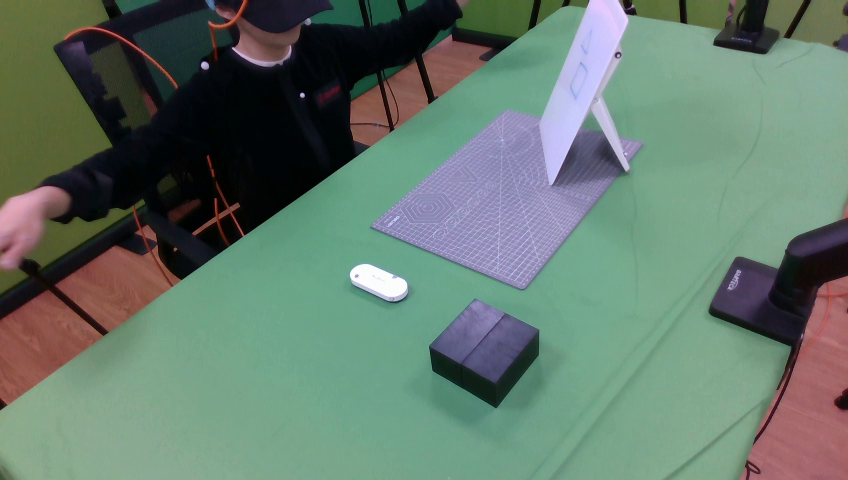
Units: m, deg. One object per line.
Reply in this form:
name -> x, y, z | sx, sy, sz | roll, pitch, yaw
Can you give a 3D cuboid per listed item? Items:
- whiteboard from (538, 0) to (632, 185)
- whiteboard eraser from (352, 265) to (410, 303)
whiteboard -> 0.327, -0.259, 1.055 | 0.144, 0.305, 0.216 | 13, 40, -6
whiteboard eraser -> -0.066, 0.065, 0.914 | 0.100, 0.019, 0.041 | 21, 49, 31
